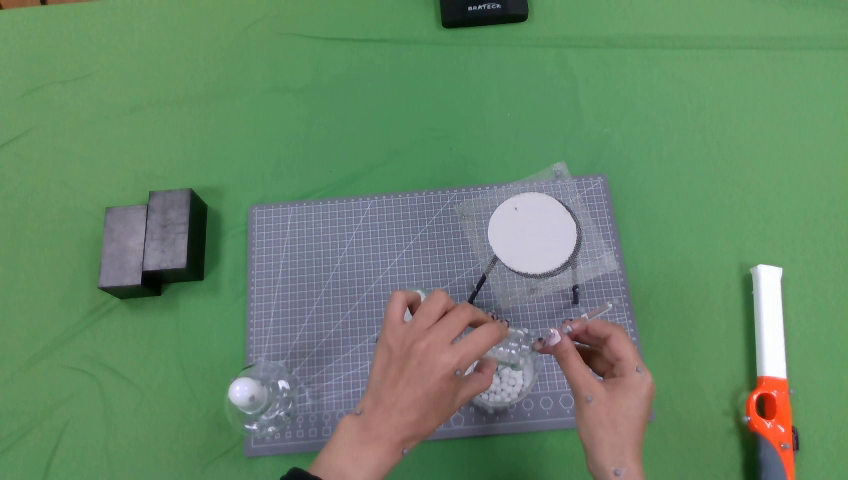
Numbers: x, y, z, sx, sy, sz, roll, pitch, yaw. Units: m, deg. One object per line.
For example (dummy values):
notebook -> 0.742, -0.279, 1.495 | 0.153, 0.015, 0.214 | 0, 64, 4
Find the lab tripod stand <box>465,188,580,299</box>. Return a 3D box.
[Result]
lab tripod stand -> 0.109, 0.013, 0.658 | 0.148, 0.132, 0.147 | -1, 73, 2

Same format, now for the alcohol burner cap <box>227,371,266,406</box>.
alcohol burner cap -> -0.176, 0.144, 0.595 | 0.034, 0.048, 0.033 | 1, 69, -3

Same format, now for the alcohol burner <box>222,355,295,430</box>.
alcohol burner -> -0.175, 0.157, 0.629 | 0.078, 0.120, 0.077 | 0, 72, 0

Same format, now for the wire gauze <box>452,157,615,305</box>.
wire gauze -> 0.106, -0.010, 0.595 | 0.125, 0.011, 0.120 | -21, 73, -4

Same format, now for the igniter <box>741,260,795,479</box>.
igniter -> 0.373, 0.155, 0.660 | 0.057, 0.025, 0.275 | 10, 72, -5

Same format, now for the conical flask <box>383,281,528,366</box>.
conical flask -> 0.031, 0.083, 0.548 | 0.121, 0.076, 0.075 | 9, 70, 23

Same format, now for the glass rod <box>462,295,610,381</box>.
glass rod -> 0.093, 0.093, 0.550 | 0.008, 0.200, 0.008 | 20, 50, -26

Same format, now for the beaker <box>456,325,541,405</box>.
beaker -> 0.074, 0.135, 0.636 | 0.084, 0.101, 0.073 | -7, 71, -1
